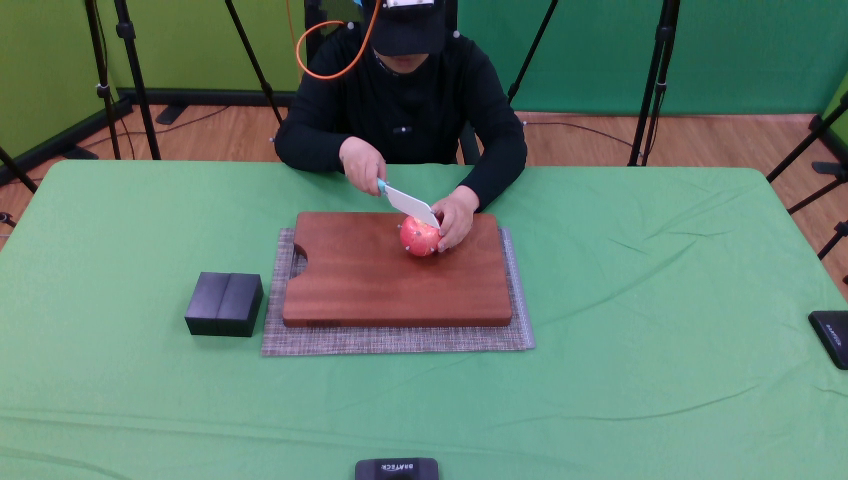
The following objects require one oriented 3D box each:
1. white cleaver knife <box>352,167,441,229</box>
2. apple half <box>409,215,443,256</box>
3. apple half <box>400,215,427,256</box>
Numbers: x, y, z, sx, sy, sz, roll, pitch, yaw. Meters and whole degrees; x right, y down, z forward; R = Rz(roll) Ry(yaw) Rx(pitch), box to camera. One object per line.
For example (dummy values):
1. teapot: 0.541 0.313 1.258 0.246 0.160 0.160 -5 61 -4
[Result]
1. white cleaver knife: -0.060 -0.079 1.133 0.021 0.066 0.284 -36 36 -18
2. apple half: 0.007 -0.013 1.137 0.053 0.075 0.080 -19 46 -27
3. apple half: -0.026 -0.001 1.121 0.033 0.081 0.081 -19 50 -27
